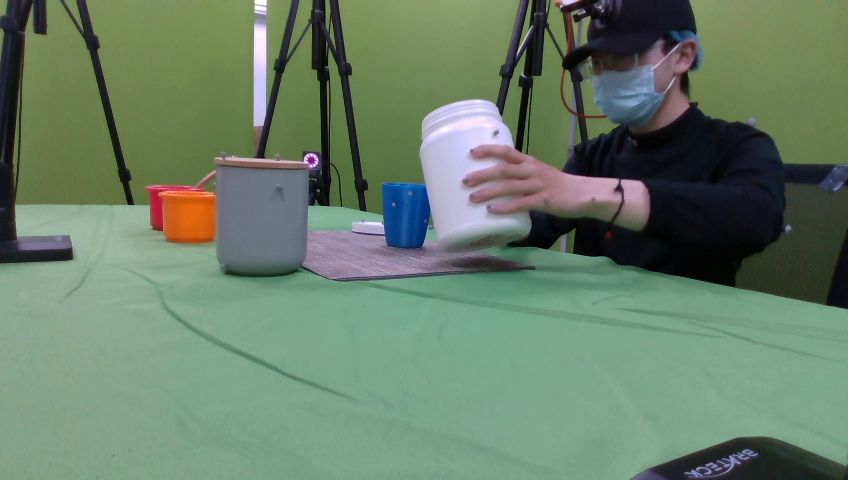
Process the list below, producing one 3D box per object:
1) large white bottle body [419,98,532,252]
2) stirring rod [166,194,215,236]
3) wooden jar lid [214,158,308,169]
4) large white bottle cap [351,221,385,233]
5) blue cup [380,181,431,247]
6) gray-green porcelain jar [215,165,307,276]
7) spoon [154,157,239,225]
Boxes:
[{"bbox_3d":[0.066,-0.087,0.827,0.131,0.184,0.130,-11,-11,-2],"label":"large white bottle body"},{"bbox_3d":[-0.341,-0.066,0.967,0.176,0.006,0.014,-42,23,-9],"label":"stirring rod"},{"bbox_3d":[-0.193,-0.085,0.719,0.108,0.020,0.108,2,9,0],"label":"wooden jar lid"},{"bbox_3d":[-0.082,-0.025,1.162,0.115,0.018,0.115,3,4,0],"label":"large white bottle cap"},{"bbox_3d":[-0.028,-0.042,0.979,0.093,0.100,0.092,2,9,0],"label":"blue cup"},{"bbox_3d":[-0.195,-0.024,0.726,0.106,0.126,0.106,3,7,0],"label":"gray-green porcelain jar"},{"bbox_3d":[-0.411,-0.092,1.104,0.041,0.022,0.194,13,56,51],"label":"spoon"}]
